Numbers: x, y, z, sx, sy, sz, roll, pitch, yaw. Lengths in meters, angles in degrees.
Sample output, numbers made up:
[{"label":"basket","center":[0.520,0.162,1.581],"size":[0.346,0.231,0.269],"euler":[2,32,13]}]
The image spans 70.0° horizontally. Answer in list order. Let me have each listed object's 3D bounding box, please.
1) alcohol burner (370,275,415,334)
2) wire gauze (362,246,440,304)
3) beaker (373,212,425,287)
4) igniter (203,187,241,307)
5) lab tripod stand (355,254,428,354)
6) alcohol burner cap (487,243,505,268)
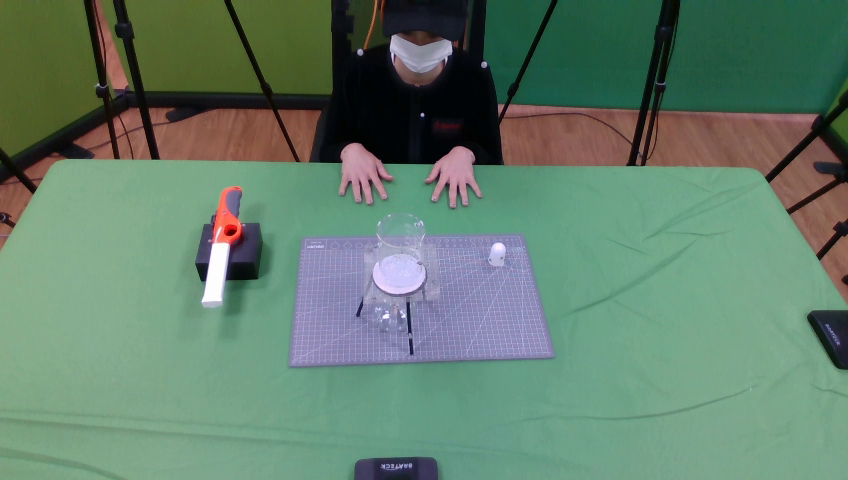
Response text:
[{"label":"alcohol burner","center":[-0.054,0.103,1.026],"size":[0.078,0.120,0.077],"euler":[1,44,-1]},{"label":"wire gauze","center":[-0.038,0.052,0.972],"size":[0.121,0.011,0.124],"euler":[0,44,-5]},{"label":"beaker","center":[-0.036,0.019,0.936],"size":[0.074,0.101,0.083],"euler":[-29,54,-26]},{"label":"igniter","center":[-0.365,0.003,1.098],"size":[0.057,0.025,0.274],"euler":[-1,49,-7]},{"label":"lab tripod stand","center":[-0.046,0.100,1.017],"size":[0.148,0.132,0.147],"euler":[1,47,-1]},{"label":"alcohol burner cap","center":[0.141,0.027,1.166],"size":[0.034,0.048,0.033],"euler":[2,45,-2]}]
